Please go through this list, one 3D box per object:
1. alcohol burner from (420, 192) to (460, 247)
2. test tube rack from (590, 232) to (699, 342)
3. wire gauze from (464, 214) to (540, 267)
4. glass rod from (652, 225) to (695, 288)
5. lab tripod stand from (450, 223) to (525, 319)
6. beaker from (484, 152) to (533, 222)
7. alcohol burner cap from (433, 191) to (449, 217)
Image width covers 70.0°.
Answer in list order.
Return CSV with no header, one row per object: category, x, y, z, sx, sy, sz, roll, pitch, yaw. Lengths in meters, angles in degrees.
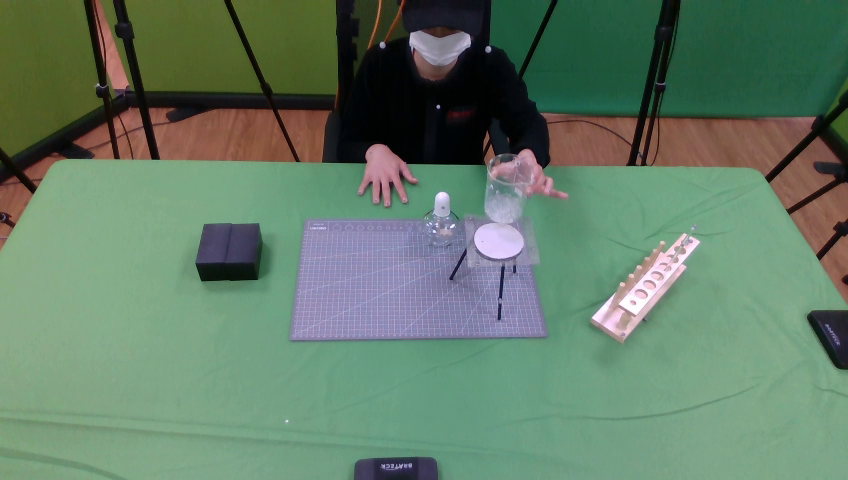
alcohol burner,0.032,-0.045,1.176,0.078,0.120,0.077,2,44,-2
test tube rack,0.407,0.074,1.112,0.066,0.085,0.242,35,53,26
wire gauze,0.131,-0.002,1.034,0.121,0.011,0.124,1,45,-2
glass rod,0.432,0.037,1.057,0.008,0.200,0.008,1,54,-1
lab tripod stand,0.120,0.046,1.080,0.148,0.132,0.147,1,47,-1
beaker,0.140,-0.085,1.012,0.083,0.101,0.074,31,56,24
alcohol burner cap,0.033,-0.071,1.150,0.034,0.048,0.033,0,45,0
